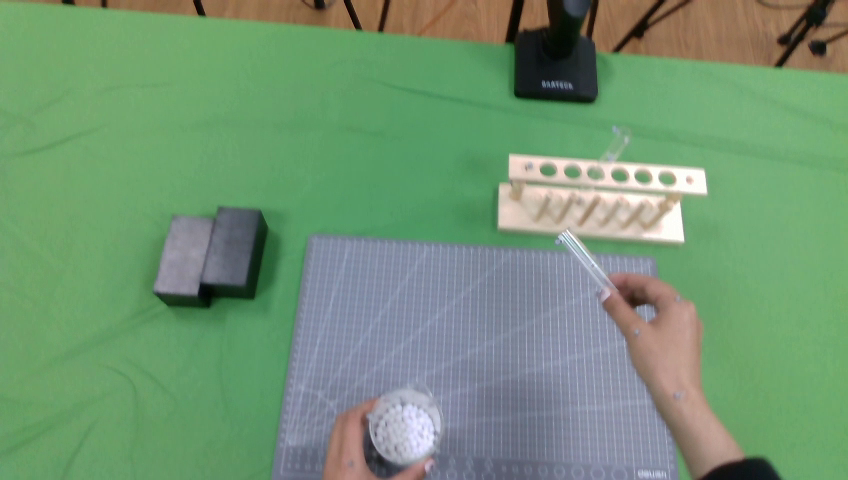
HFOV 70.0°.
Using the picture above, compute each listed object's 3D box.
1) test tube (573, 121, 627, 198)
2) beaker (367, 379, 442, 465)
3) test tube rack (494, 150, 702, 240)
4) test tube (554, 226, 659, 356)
[{"bbox_3d":[0.210,-0.093,0.734,0.017,0.151,0.017,3,64,-5],"label":"test tube"},{"bbox_3d":[-0.020,0.195,0.639,0.074,0.101,0.083,19,66,4],"label":"beaker"},{"bbox_3d":[0.217,-0.056,0.772,0.242,0.086,0.066,4,66,-1],"label":"test tube rack"},{"bbox_3d":[0.177,0.050,0.586,0.017,0.017,0.150,-34,83,-17],"label":"test tube"}]
